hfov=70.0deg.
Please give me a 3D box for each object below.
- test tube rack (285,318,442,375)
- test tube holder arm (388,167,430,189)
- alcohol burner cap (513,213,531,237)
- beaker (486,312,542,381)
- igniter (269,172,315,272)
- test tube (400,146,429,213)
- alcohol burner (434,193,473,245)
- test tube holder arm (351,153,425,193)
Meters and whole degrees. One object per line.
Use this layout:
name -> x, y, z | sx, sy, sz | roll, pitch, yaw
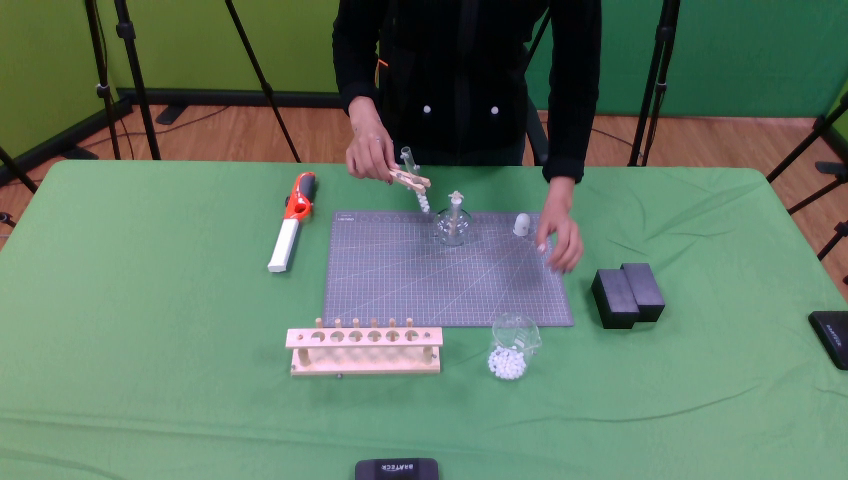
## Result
test tube rack -> -0.095, 0.168, 0.986 | 0.242, 0.085, 0.066 | 0, 46, -4
test tube holder arm -> -0.029, -0.107, 1.038 | 0.087, 0.015, 0.010 | 20, 56, 30
alcohol burner cap -> 0.200, -0.034, 1.227 | 0.034, 0.048, 0.033 | 1, 45, -1
beaker -> 0.144, 0.177, 0.985 | 0.084, 0.101, 0.074 | 22, 49, 16
igniter -> -0.263, -0.045, 1.219 | 0.057, 0.025, 0.275 | -2, 45, 8
test tube -> -0.014, -0.098, 1.021 | 0.017, 0.151, 0.017 | -9, 49, 11
alcohol burner -> 0.059, -0.047, 1.180 | 0.078, 0.120, 0.077 | 1, 48, -1
test tube holder arm -> -0.066, -0.119, 1.059 | 0.177, 0.015, 0.013 | 27, 59, 33
